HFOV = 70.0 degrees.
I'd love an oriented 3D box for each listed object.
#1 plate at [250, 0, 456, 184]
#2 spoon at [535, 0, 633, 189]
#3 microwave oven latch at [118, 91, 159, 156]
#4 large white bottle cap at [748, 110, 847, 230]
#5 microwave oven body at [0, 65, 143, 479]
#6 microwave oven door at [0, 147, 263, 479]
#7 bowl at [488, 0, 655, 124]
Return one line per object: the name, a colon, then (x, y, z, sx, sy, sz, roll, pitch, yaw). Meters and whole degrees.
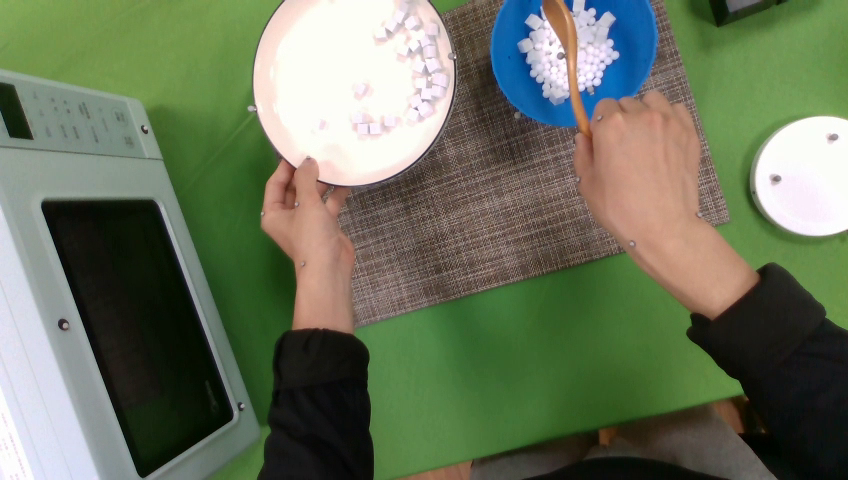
plate: (-0.068, -0.158, 0.598, 0.208, 0.038, 0.209, 1, 94, 13)
spoon: (0.134, -0.129, 0.515, 0.022, 0.042, 0.192, -13, 75, -10)
microwave oven latch: (-0.344, -0.134, 0.715, 0.030, 0.029, 0.079, -19, 92, 14)
large white bottle cap: (0.377, -0.066, 0.584, 0.114, 0.018, 0.115, 1, 96, 12)
microwave oven body: (-0.442, 0.089, 0.661, 0.325, 0.260, 0.441, -20, 91, 13)
microwave oven door: (-0.295, 0.081, 0.621, 0.039, 0.244, 0.355, -20, 91, 14)
bowl: (0.142, -0.186, 0.591, 0.151, 0.077, 0.151, 1, 96, 13)
